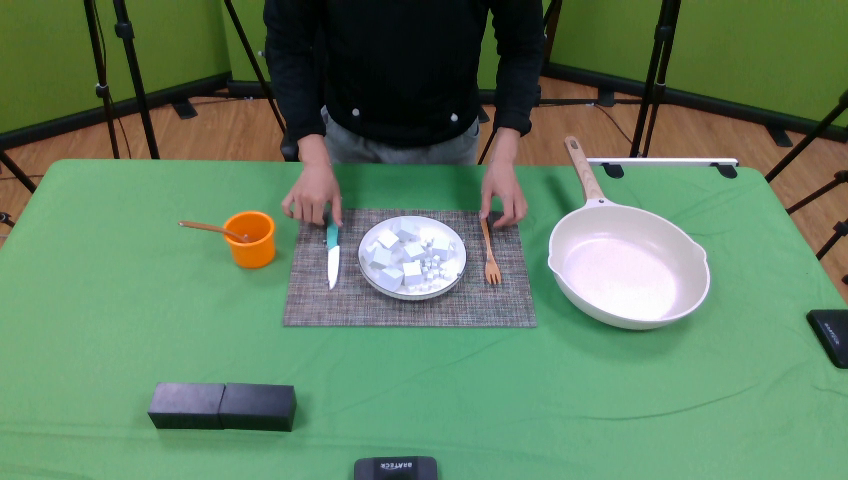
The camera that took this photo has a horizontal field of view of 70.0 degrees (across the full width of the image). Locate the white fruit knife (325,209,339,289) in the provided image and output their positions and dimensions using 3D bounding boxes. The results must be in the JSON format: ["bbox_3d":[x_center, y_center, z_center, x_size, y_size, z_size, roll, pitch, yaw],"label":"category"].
[{"bbox_3d":[-0.179,0.014,1.170,0.027,0.016,0.206,-5,47,-1],"label":"white fruit knife"}]

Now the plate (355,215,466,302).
[{"bbox_3d":[-0.025,0.038,1.144,0.208,0.039,0.206,2,46,-2],"label":"plate"}]

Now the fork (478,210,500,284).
[{"bbox_3d":[0.124,0.010,1.194,0.028,0.019,0.206,-8,48,3],"label":"fork"}]

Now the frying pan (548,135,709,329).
[{"bbox_3d":[0.360,-0.033,1.200,0.307,0.103,0.484,-4,55,-9],"label":"frying pan"}]

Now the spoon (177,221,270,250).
[{"bbox_3d":[-0.358,-0.012,1.093,0.021,0.195,0.041,-52,54,10],"label":"spoon"}]
